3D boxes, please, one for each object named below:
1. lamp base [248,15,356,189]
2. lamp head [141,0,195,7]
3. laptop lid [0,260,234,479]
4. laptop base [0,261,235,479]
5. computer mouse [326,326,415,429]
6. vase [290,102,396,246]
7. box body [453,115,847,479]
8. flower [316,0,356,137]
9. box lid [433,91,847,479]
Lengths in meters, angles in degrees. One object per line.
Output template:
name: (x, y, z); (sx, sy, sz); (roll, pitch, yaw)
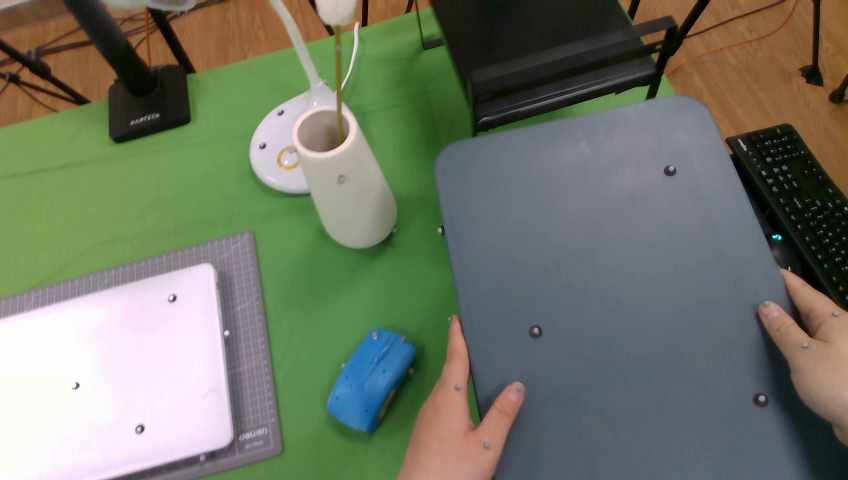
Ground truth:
lamp base: (-0.173, -0.187, 0.790); (0.160, 0.182, 0.178); (15, 64, 14)
lamp head: (-0.233, -0.271, 0.503); (0.112, 0.113, 0.122); (12, 83, 13)
laptop lid: (-0.408, 0.171, 0.718); (0.357, 0.013, 0.239); (-14, 65, 0)
laptop base: (-0.408, 0.174, 0.729); (0.354, 0.023, 0.233); (-16, 66, -1)
computer mouse: (-0.061, 0.152, 0.689); (0.062, 0.041, 0.116); (22, 64, 19)
vase: (-0.094, -0.073, 0.714); (0.098, 0.202, 0.097); (-4, 62, 7)
box body: (0.196, 0.082, 0.623); (0.254, 0.162, 0.360); (-14, 63, 0)
flower: (-0.090, -0.123, 0.646); (0.038, 0.365, 0.043); (-21, 52, -23)
box lid: (0.161, 0.043, 0.504); (0.263, 0.015, 0.368); (-12, 66, 2)
